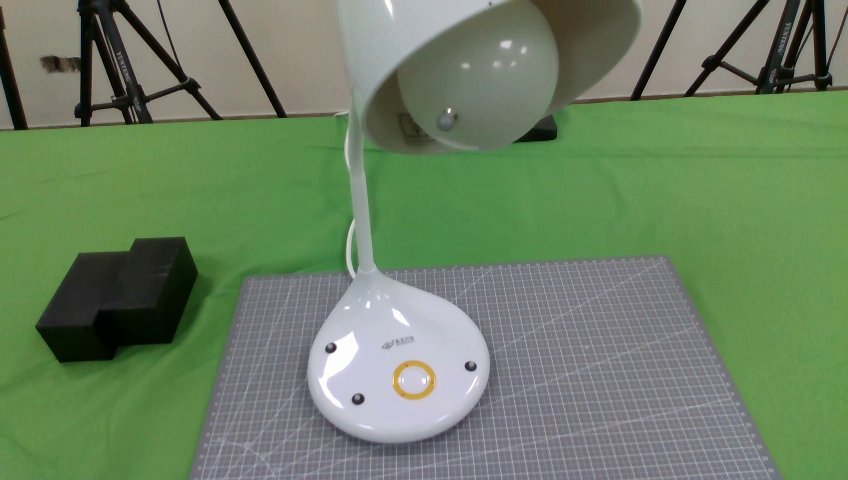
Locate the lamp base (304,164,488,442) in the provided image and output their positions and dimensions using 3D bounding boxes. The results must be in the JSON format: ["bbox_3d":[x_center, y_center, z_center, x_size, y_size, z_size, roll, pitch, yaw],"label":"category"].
[{"bbox_3d":[-0.034,0.041,0.492,0.161,0.182,0.177,-22,42,-22],"label":"lamp base"}]

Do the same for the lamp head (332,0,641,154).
[{"bbox_3d":[0.009,-0.108,0.244,0.112,0.113,0.122,-17,72,-17],"label":"lamp head"}]
